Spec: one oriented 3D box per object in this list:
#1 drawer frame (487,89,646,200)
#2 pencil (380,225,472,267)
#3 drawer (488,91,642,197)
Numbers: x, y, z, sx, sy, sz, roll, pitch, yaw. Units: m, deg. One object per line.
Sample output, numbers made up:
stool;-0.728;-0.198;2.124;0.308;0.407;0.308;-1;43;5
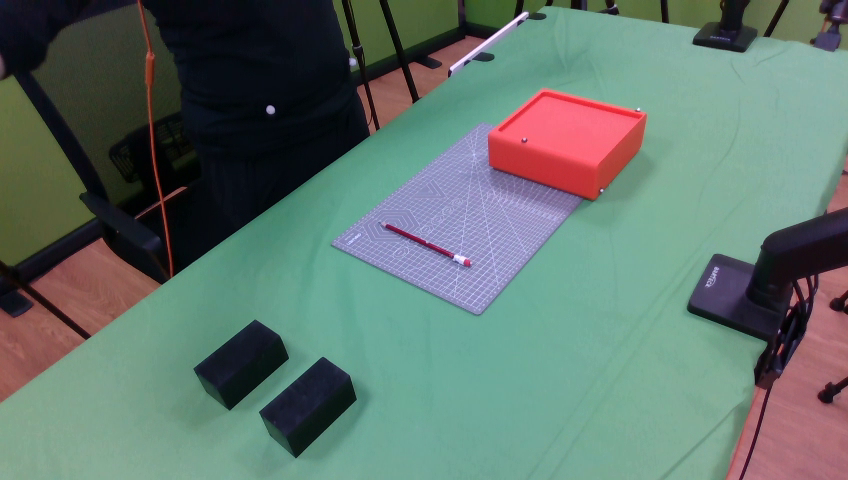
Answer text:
drawer frame;0.257;-0.180;1.094;0.212;0.083;0.202;23;48;30
pencil;-0.001;0.005;0.970;0.192;0.012;0.012;23;49;34
drawer;0.254;-0.179;1.095;0.210;0.073;0.195;24;48;30
